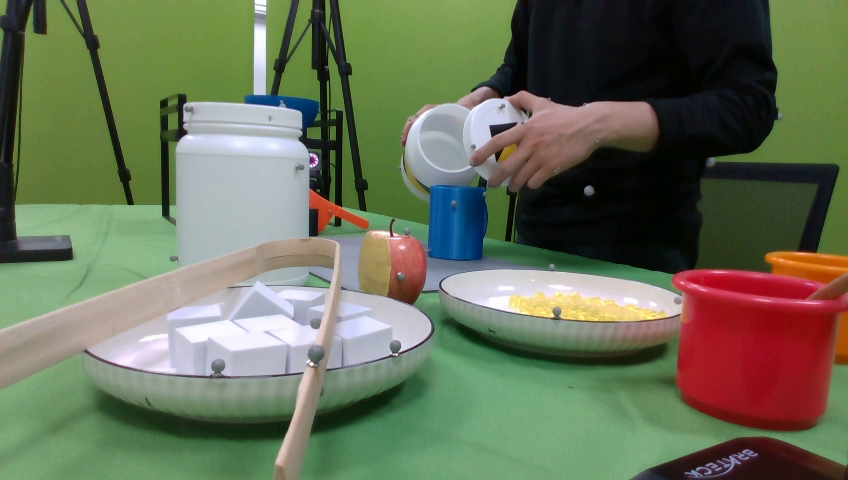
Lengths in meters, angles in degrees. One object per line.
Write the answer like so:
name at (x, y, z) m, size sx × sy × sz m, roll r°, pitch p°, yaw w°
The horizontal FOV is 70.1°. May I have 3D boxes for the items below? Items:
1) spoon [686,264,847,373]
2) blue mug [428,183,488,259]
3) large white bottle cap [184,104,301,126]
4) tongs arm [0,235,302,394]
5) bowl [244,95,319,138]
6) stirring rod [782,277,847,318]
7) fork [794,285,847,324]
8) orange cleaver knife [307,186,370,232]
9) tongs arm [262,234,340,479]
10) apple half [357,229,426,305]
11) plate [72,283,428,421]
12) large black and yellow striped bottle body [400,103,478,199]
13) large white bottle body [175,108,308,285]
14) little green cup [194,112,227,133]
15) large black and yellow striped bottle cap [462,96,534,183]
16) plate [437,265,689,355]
spoon at (0.214, 0.032, 0.328) m, size 0.042 × 0.021 × 0.193 m, roll -3°, pitch -35°, yaw -26°
blue mug at (0.059, -0.031, 0.907) m, size 0.082 × 0.106 × 0.117 m, roll 9°, pitch 10°, yaw 42°
large white bottle cap at (-0.184, -0.126, 0.618) m, size 0.115 × 0.018 × 0.115 m, roll 2°, pitch 8°, yaw 0°
tongs arm at (-0.157, 0.038, 0.351) m, size 0.028 × 0.028 × 0.388 m, roll -3°, pitch 8°, yaw 12°
bowl at (-0.293, -0.251, 1.249) m, size 0.151 × 0.077 × 0.151 m, roll 2°, pitch 7°, yaw 0°
stirring rod at (0.344, 0.019, 0.461) m, size 0.014 × 0.006 × 0.176 m, roll -13°, pitch -27°, yaw -30°
fork at (0.332, 0.018, 0.443) m, size 0.028 × 0.018 × 0.207 m, roll -1°, pitch -36°, yaw -15°
orange cleaver knife at (-0.197, -0.056, 1.141) m, size 0.212 × 0.077 × 0.012 m, roll 29°, pitch 0°, yaw -35°
tongs arm at (-0.074, 0.039, 0.349) m, size 0.051 × 0.026 × 0.384 m, roll -2°, pitch 10°, yaw -3°
apple half at (-0.026, 0.028, 0.570) m, size 0.053 × 0.074 × 0.080 m, roll 3°, pitch 2°, yaw -28°
plate at (-0.102, 0.066, 0.381) m, size 0.208 × 0.039 × 0.207 m, roll 2°, pitch 7°, yaw 0°
large black and yellow striped bottle body at (0.031, -0.144, 0.999) m, size 0.131 × 0.130 × 0.184 m, roll 1°, pitch -7°, yaw -7°
large white bottle body at (-0.188, -0.042, 0.630) m, size 0.131 × 0.184 × 0.130 m, roll 2°, pitch 8°, yaw 0°
little green cup at (-0.412, -0.228, 1.171) m, size 0.061 × 0.038 × 0.061 m, roll 2°, pitch 8°, yaw 0°
large black and yellow striped bottle cap at (0.100, -0.133, 0.800) m, size 0.115 × 0.115 × 0.018 m, roll -3°, pitch -5°, yaw -35°
plate at (0.114, 0.057, 0.517) m, size 0.209 × 0.038 × 0.209 m, roll 3°, pitch 8°, yaw 0°
